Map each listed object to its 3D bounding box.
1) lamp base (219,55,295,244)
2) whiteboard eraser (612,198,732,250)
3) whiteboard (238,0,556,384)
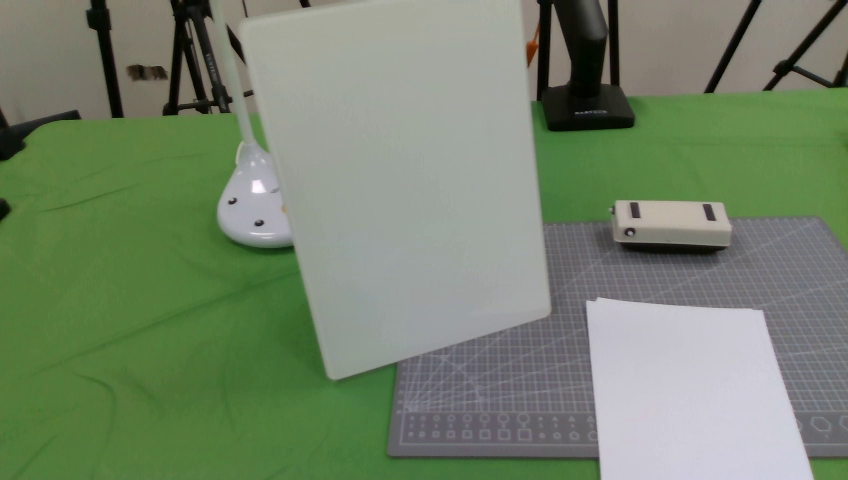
[{"bbox_3d":[-0.182,-0.112,0.697,0.177,0.182,0.160,28,49,37],"label":"lamp base"},{"bbox_3d":[0.259,-0.017,0.638,0.112,0.042,0.055,3,40,10],"label":"whiteboard eraser"},{"bbox_3d":[-0.020,-0.061,0.561,0.217,0.307,0.142,-14,20,-11],"label":"whiteboard"}]
